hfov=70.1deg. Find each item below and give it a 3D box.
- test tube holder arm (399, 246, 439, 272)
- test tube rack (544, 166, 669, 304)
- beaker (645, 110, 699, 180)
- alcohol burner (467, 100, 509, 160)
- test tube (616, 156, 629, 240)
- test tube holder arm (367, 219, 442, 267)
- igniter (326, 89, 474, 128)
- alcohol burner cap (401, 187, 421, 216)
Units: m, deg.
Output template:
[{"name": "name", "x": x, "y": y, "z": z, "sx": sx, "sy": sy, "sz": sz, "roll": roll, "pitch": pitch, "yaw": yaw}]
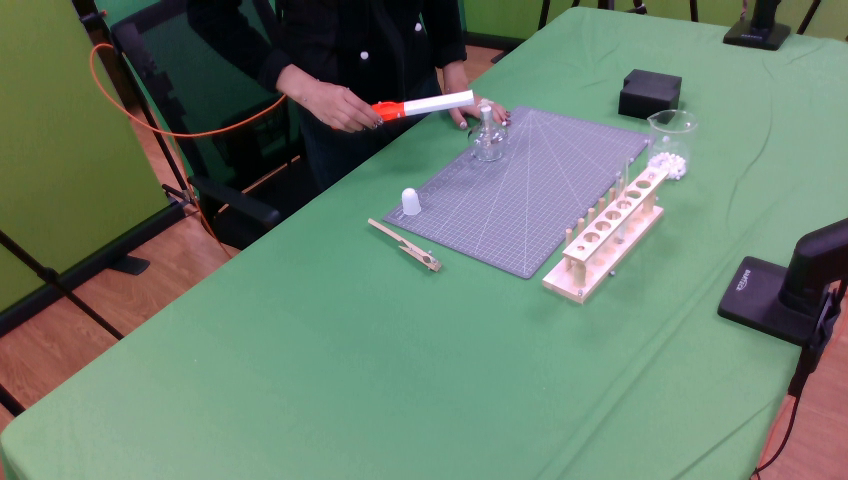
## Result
[{"name": "test tube holder arm", "x": -0.009, "y": 0.026, "z": 0.957, "sx": 0.087, "sy": 0.015, "sz": 0.010, "roll": 34, "pitch": 91, "yaw": 40}, {"name": "test tube rack", "x": 0.274, "y": -0.018, "z": 0.903, "sx": 0.066, "sy": 0.085, "sz": 0.243, "roll": 26, "pitch": 51, "yaw": 35}, {"name": "beaker", "x": 0.417, "y": -0.160, "z": 1.032, "sx": 0.083, "sy": 0.101, "sz": 0.074, "roll": 25, "pitch": 51, "yaw": 35}, {"name": "alcohol burner", "x": 0.118, "y": -0.210, "z": 1.131, "sx": 0.078, "sy": 0.119, "sz": 0.077, "roll": -6, "pitch": 42, "yaw": 5}, {"name": "test tube", "x": 0.284, "y": -0.057, "z": 0.869, "sx": 0.017, "sy": 0.151, "sz": 0.017, "roll": -8, "pitch": 42, "yaw": 8}, {"name": "test tube holder arm", "x": -0.035, "y": 0.003, "z": 0.985, "sx": 0.177, "sy": 0.015, "sz": 0.013, "roll": 32, "pitch": 90, "yaw": 40}, {"name": "igniter", "x": -0.047, "y": -0.240, "z": 1.108, "sx": 0.276, "sy": 0.025, "sz": 0.057, "roll": -9, "pitch": 43, "yaw": 5}, {"name": "alcohol burner cap", "x": -0.025, "y": -0.070, "z": 1.048, "sx": 0.034, "sy": 0.048, "sz": 0.033, "roll": -5, "pitch": 41, "yaw": 5}]
